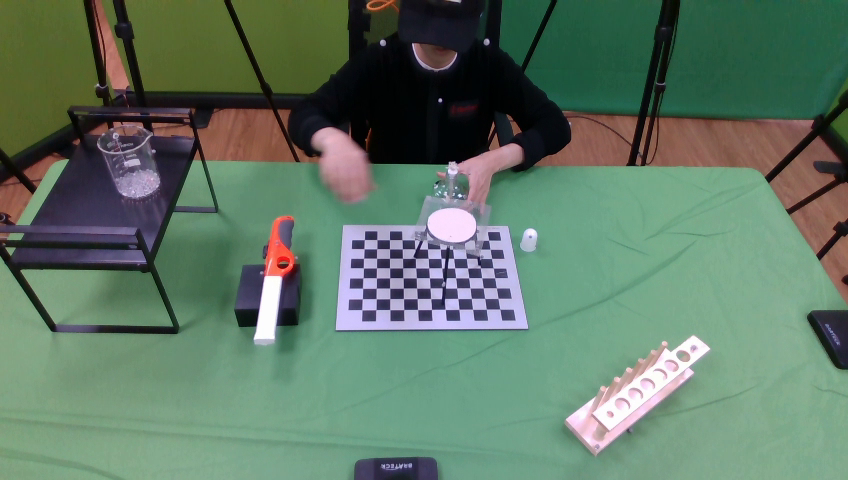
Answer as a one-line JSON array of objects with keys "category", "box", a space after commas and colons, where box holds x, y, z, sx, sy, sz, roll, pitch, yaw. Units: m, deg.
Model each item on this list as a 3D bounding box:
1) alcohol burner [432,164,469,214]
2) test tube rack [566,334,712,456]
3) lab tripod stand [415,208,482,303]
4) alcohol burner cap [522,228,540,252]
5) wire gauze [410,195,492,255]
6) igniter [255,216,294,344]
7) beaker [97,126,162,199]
[{"category": "alcohol burner", "box": [0.056, -0.110, 1.241, 0.078, 0.119, 0.077, 3, 46, -3]}, {"category": "test tube rack", "box": [0.338, 0.228, 0.950, 0.242, 0.085, 0.066, -26, 52, -26]}, {"category": "lab tripod stand", "box": [0.043, 0.018, 1.097, 0.148, 0.132, 0.147, 0, 46, 0]}, {"category": "alcohol burner cap", "box": [0.214, -0.003, 1.198, 0.034, 0.048, 0.033, 1, 46, -1]}, {"category": "wire gauze", "box": [0.049, -0.031, 1.051, 0.125, 0.011, 0.121, 12, 47, 9]}, {"category": "igniter", "box": [-0.258, 0.059, 1.051, 0.057, 0.025, 0.274, 2, 47, -6]}, {"category": "beaker", "box": [-0.468, -0.124, 0.979, 0.084, 0.101, 0.073, -25, 53, -26]}]
